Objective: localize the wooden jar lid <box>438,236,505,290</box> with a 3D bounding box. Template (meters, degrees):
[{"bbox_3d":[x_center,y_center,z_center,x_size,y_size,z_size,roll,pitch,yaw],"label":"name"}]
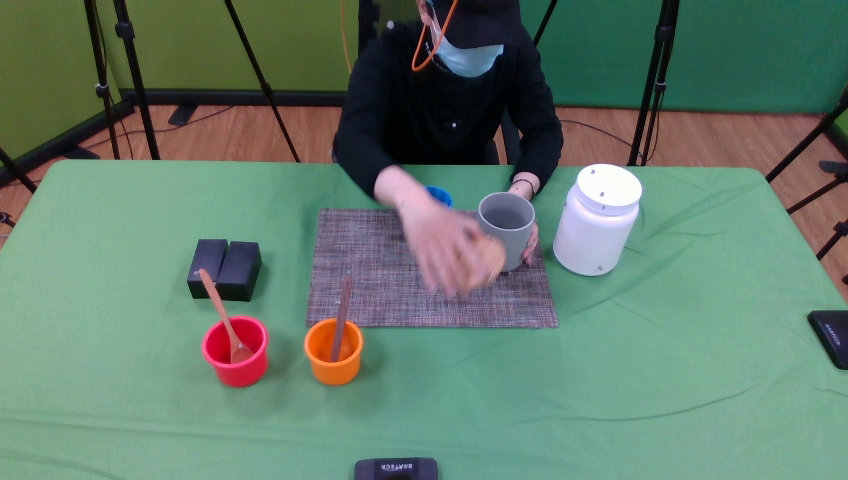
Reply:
[{"bbox_3d":[0.077,0.038,0.966,0.108,0.021,0.107,-12,44,12],"label":"wooden jar lid"}]

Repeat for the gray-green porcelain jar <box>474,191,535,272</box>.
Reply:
[{"bbox_3d":[0.147,-0.010,1.139,0.106,0.127,0.105,2,46,-2],"label":"gray-green porcelain jar"}]

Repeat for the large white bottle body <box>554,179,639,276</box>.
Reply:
[{"bbox_3d":[0.326,-0.036,1.141,0.131,0.185,0.130,2,46,-2],"label":"large white bottle body"}]

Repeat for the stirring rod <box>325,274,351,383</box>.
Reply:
[{"bbox_3d":[-0.137,0.142,0.971,0.014,0.006,0.176,9,89,1],"label":"stirring rod"}]

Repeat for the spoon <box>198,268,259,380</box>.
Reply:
[{"bbox_3d":[-0.313,0.133,0.962,0.041,0.021,0.194,-24,96,-19],"label":"spoon"}]

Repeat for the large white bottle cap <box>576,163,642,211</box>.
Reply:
[{"bbox_3d":[0.330,-0.096,1.080,0.115,0.018,0.114,2,46,-2],"label":"large white bottle cap"}]

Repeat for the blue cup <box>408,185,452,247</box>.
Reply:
[{"bbox_3d":[0.008,-0.042,1.176,0.093,0.101,0.092,3,47,-3],"label":"blue cup"}]
